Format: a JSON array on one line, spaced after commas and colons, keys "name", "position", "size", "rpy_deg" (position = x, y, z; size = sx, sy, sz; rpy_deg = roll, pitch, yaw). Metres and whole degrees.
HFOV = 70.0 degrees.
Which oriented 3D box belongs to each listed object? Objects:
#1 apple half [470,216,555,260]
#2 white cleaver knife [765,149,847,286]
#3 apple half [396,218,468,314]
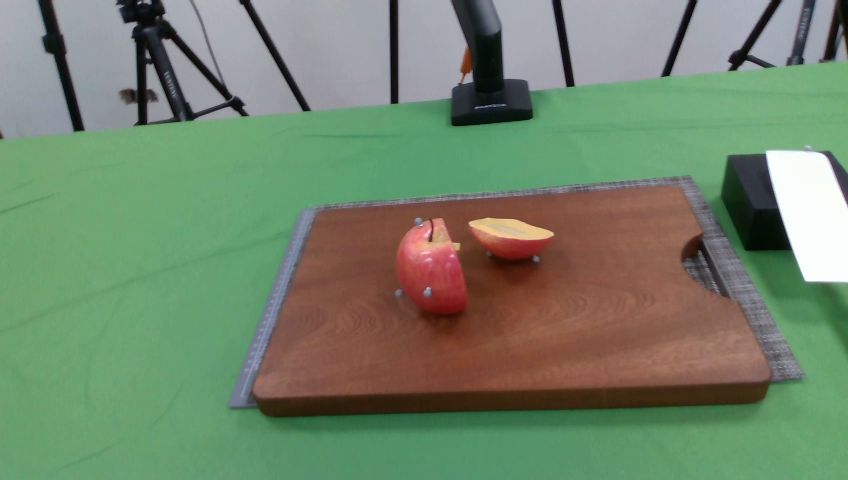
[{"name": "apple half", "position": [0.079, 0.002, 0.572], "size": [0.081, 0.033, 0.081], "rpy_deg": [6, 17, -2]}, {"name": "white cleaver knife", "position": [0.352, 0.019, 0.518], "size": [0.066, 0.022, 0.284], "rpy_deg": [-3, 48, 13]}, {"name": "apple half", "position": [0.004, 0.026, 0.527], "size": [0.053, 0.075, 0.080], "rpy_deg": [-16, 41, -3]}]
